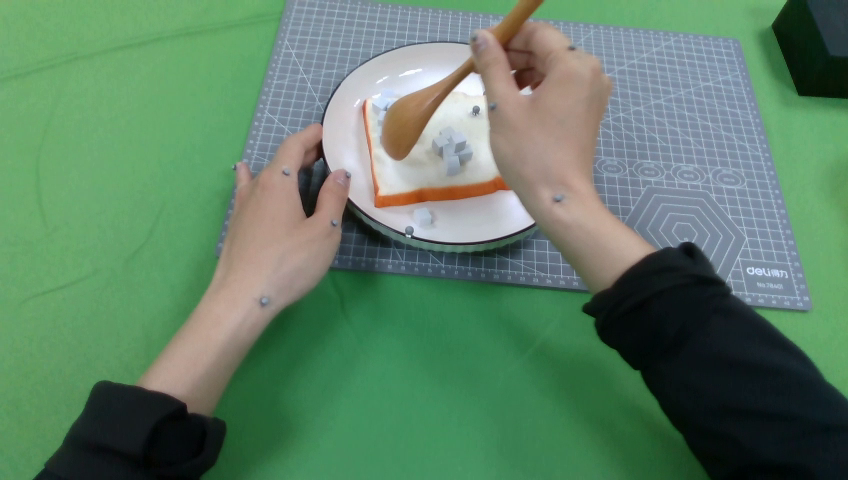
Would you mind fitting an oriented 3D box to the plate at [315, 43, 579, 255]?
[{"bbox_3d":[0.018,-0.074,0.491,0.209,0.038,0.207,2,59,-3],"label":"plate"}]

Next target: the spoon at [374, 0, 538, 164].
[{"bbox_3d":[0.023,-0.117,0.406,0.022,0.194,0.041,3,56,-49],"label":"spoon"}]

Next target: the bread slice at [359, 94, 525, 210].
[{"bbox_3d":[0.016,-0.078,0.495,0.132,0.019,0.104,-8,60,-8],"label":"bread slice"}]
